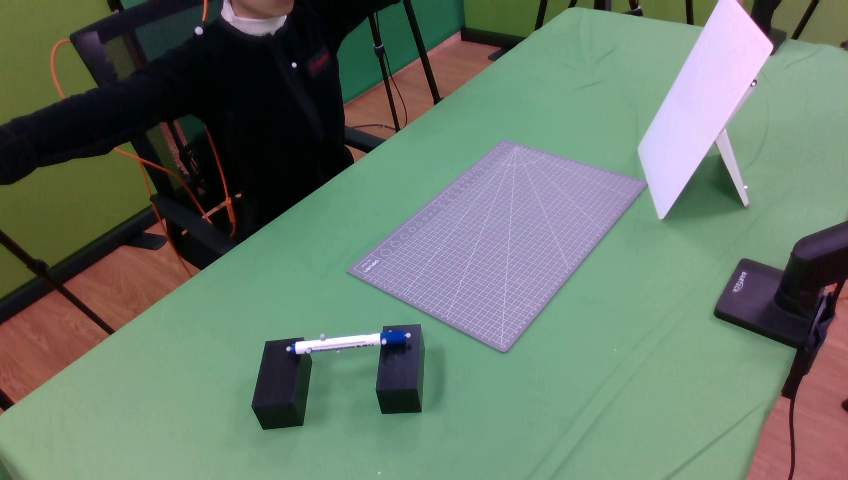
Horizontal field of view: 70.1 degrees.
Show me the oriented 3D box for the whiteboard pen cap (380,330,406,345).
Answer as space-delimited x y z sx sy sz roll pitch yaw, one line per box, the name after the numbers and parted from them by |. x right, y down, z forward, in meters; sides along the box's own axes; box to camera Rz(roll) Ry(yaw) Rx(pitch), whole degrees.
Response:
-0.040 0.123 0.760 0.033 0.018 0.018 -6 40 2 | whiteboard pen cap

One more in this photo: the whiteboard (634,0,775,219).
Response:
0.485 -0.193 0.956 0.144 0.305 0.216 14 41 -5 | whiteboard

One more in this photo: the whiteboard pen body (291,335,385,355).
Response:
-0.098 0.131 0.762 0.141 0.017 0.017 -5 41 1 | whiteboard pen body
